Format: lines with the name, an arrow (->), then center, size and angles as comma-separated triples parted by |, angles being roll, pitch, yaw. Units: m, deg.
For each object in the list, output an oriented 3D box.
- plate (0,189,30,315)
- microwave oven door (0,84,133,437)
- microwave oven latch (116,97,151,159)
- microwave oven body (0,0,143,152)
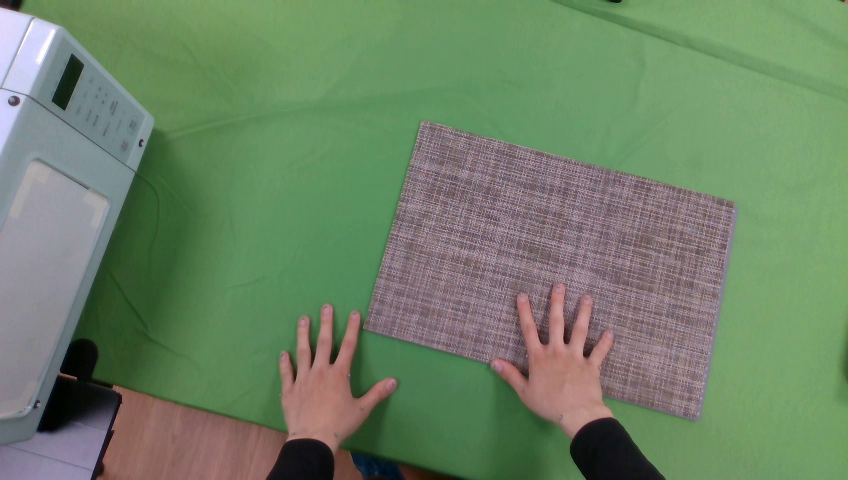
plate -> -0.569, 0.019, 0.715 | 0.209, 0.038, 0.208 | 1, 82, -3
microwave oven door -> -0.441, 0.041, 0.654 | 0.039, 0.244, 0.354 | 15, 80, 1
microwave oven latch -> -0.384, -0.149, 0.790 | 0.030, 0.029, 0.079 | 18, 81, 0
microwave oven body -> -0.571, -0.037, 0.666 | 0.326, 0.261, 0.440 | 16, 81, 0
